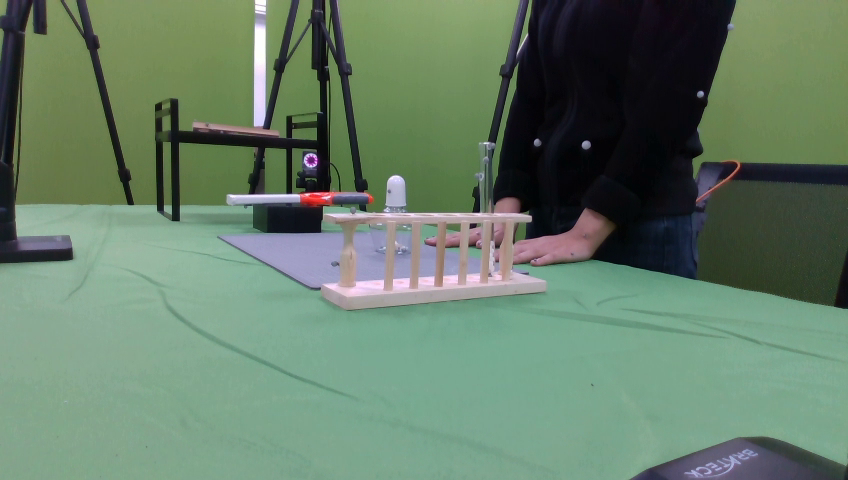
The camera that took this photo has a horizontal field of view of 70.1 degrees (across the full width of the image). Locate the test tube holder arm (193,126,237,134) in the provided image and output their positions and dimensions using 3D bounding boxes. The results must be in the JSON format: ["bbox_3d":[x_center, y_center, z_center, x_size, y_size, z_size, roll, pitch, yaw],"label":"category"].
[{"bbox_3d":[-0.443,-0.235,1.284,0.088,0.015,0.010,-2,-21,-28],"label":"test tube holder arm"}]

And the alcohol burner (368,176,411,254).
[{"bbox_3d":[-0.045,-0.038,0.913,0.078,0.119,0.078,5,7,0],"label":"alcohol burner"}]

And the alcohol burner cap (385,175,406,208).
[{"bbox_3d":[-0.044,-0.074,0.908,0.034,0.048,0.034,0,12,0],"label":"alcohol burner cap"}]

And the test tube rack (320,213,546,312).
[{"bbox_3d":[0.017,0.017,0.638,0.244,0.085,0.066,-2,9,-31],"label":"test tube rack"}]

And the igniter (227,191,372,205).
[{"bbox_3d":[-0.232,-0.080,1.162,0.278,0.025,0.057,-3,12,-28],"label":"igniter"}]

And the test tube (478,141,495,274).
[{"bbox_3d":[0.071,-0.036,0.683,0.017,0.150,0.017,-2,8,1],"label":"test tube"}]

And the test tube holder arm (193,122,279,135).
[{"bbox_3d":[-0.401,-0.238,1.301,0.179,0.015,0.013,-2,-21,-29],"label":"test tube holder arm"}]
